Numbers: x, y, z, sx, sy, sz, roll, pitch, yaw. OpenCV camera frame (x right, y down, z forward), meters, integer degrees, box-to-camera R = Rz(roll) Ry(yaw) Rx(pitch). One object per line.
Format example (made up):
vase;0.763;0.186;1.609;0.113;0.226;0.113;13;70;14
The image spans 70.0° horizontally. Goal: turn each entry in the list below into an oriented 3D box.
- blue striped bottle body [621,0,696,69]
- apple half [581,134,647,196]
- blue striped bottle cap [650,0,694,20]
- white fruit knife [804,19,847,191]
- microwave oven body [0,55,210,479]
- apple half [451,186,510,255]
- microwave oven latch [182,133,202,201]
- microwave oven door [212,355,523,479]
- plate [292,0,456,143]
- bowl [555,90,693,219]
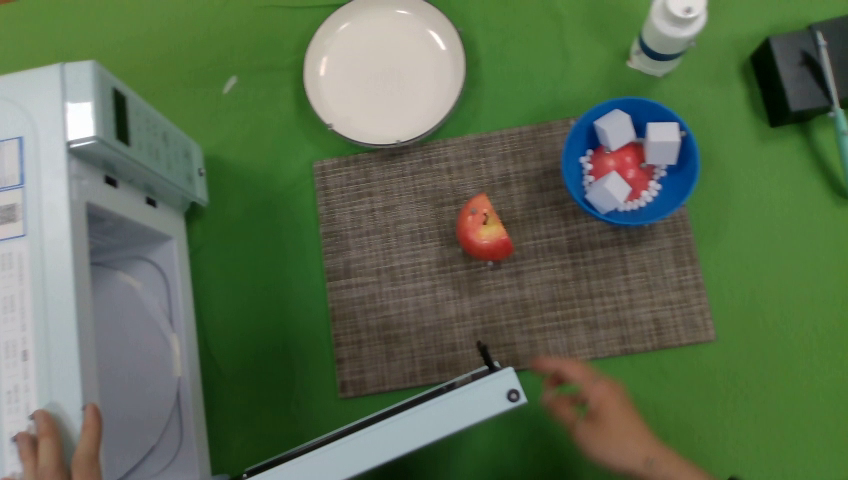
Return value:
blue striped bottle body;0.279;-0.258;0.719;0.063;0.121;0.063;-1;80;4
apple half;0.226;-0.091;0.708;0.081;0.033;0.081;-1;80;5
blue striped bottle cap;0.275;-0.268;0.669;0.044;0.021;0.044;0;82;3
white fruit knife;0.473;-0.155;0.707;0.016;0.027;0.208;-18;96;18
microwave oven body;-0.417;0.092;0.631;0.326;0.261;0.440;-11;80;1
apple half;0.061;-0.016;0.714;0.053;0.075;0.080;-30;83;4
microwave oven latch;-0.298;-0.091;0.752;0.030;0.029;0.079;-11;81;1
microwave oven door;-0.079;0.199;0.587;0.356;0.245;0.039;-24;79;-1
plate;-0.063;-0.220;0.778;0.207;0.039;0.207;0;81;3
bowl;0.225;-0.091;0.713;0.151;0.077;0.151;-1;80;4
